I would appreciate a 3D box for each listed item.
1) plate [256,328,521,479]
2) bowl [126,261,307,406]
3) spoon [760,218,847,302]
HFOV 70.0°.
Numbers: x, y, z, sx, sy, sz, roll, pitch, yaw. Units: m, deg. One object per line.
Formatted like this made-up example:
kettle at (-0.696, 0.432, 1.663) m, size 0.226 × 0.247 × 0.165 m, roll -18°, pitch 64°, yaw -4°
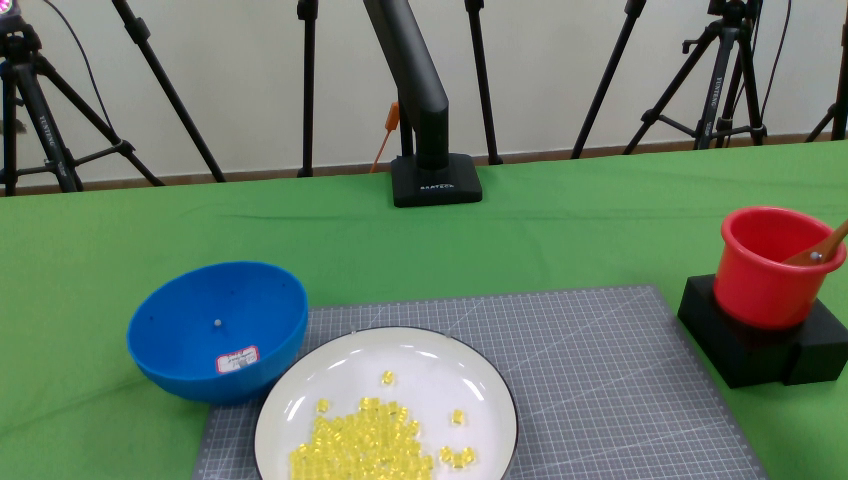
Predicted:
plate at (-0.027, 0.155, 0.491) m, size 0.208 × 0.039 × 0.205 m, roll -1°, pitch 35°, yaw 1°
bowl at (-0.176, 0.095, 0.545) m, size 0.151 × 0.077 × 0.150 m, roll -1°, pitch 36°, yaw 1°
spoon at (0.341, -0.012, 0.479) m, size 0.022 × 0.195 × 0.041 m, roll 19°, pitch 46°, yaw -4°
